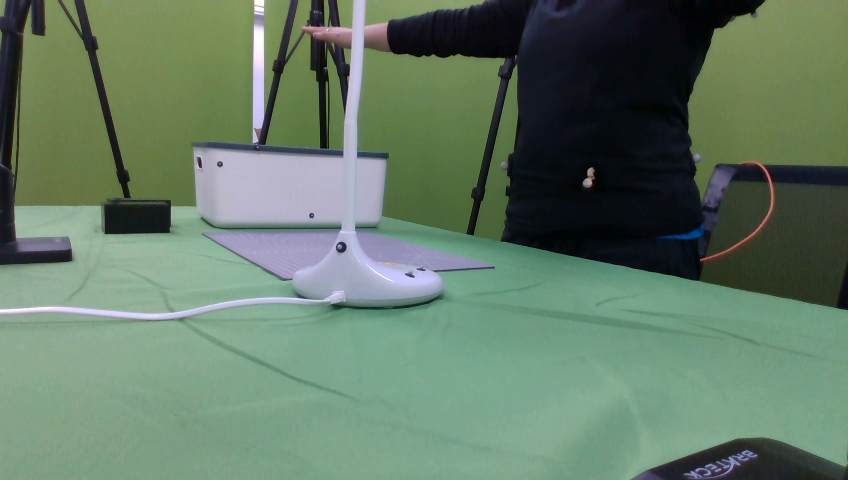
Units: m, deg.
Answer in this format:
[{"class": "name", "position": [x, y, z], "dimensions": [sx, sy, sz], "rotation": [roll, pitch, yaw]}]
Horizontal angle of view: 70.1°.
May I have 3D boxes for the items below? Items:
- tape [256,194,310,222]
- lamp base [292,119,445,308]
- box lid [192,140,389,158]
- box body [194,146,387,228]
[{"class": "tape", "position": [-0.301, -0.069, 1.294], "dimensions": [0.117, 0.052, 0.117], "rotation": [2, 7, 0]}, {"class": "lamp base", "position": [-0.056, -0.030, 0.616], "dimensions": [0.160, 0.180, 0.179], "rotation": [4, 10, 8]}, {"class": "box lid", "position": [-0.287, -0.191, 1.281], "dimensions": [0.373, 0.015, 0.262], "rotation": [0, 8, -28]}, {"class": "box body", "position": [-0.288, -0.118, 1.291], "dimensions": [0.366, 0.160, 0.253], "rotation": [-1, 8, -28]}]
